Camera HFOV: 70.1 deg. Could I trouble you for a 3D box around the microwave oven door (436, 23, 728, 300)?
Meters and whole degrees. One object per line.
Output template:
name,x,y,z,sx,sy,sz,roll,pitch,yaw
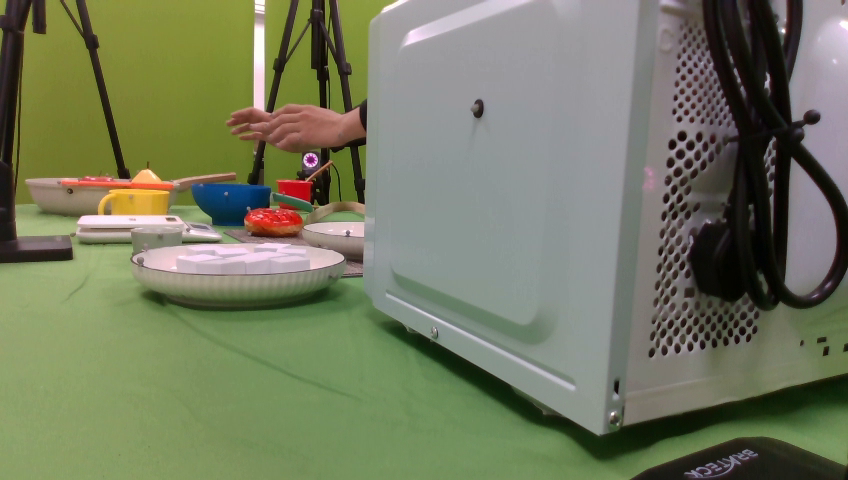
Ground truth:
microwave oven door,0.180,-0.073,0.621,0.358,0.243,0.039,-2,9,-29

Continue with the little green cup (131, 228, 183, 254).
little green cup,-0.342,0.006,0.779,0.061,0.038,0.061,2,8,0

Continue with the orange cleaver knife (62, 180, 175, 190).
orange cleaver knife,-0.600,-0.110,1.193,0.212,0.012,0.077,1,8,-13

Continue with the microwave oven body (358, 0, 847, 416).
microwave oven body,0.211,-0.047,0.474,0.444,0.260,0.324,-1,7,-28

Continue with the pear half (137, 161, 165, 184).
pear half,-0.604,-0.120,1.354,0.056,0.110,0.076,3,11,7

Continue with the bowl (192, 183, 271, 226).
bowl,-0.381,-0.071,1.202,0.151,0.077,0.151,3,7,0

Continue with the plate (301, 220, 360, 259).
plate,-0.077,-0.002,0.893,0.209,0.038,0.209,3,8,0

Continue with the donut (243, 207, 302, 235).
donut,-0.261,-0.032,1.043,0.099,0.048,0.099,4,9,0

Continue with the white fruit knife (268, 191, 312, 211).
white fruit knife,-0.364,-0.105,1.463,0.208,0.027,0.016,15,0,-34

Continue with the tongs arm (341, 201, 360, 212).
tongs arm,-0.149,-0.069,1.429,0.051,0.026,0.383,-3,8,-15

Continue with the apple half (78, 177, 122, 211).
apple half,-0.698,-0.099,1.298,0.081,0.074,0.053,-9,9,-40

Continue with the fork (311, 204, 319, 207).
fork,-0.356,-0.105,1.526,0.208,0.018,0.028,16,-5,-41

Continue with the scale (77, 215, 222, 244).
scale,-0.434,-0.019,0.963,0.202,0.031,0.148,-1,9,-27

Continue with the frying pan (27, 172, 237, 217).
frying pan,-0.624,-0.118,1.387,0.305,0.102,0.490,8,17,32

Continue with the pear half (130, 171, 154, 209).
pear half,-0.640,-0.113,1.361,0.031,0.088,0.070,5,10,5

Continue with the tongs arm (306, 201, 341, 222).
tongs arm,-0.234,-0.069,1.414,0.028,0.028,0.387,-4,7,1

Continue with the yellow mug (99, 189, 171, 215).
yellow mug,-0.518,-0.055,1.080,0.099,0.064,0.131,7,9,26

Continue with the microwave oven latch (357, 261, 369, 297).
microwave oven latch,-0.019,0.033,0.530,0.079,0.029,0.030,-1,7,-26

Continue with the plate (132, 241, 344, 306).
plate,-0.187,0.033,0.625,0.208,0.039,0.207,2,7,0

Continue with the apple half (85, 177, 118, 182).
apple half,-0.673,-0.096,1.269,0.082,0.081,0.032,-4,6,-40

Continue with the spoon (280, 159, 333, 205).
spoon,-0.316,-0.159,1.640,0.194,0.022,0.041,-50,32,-20
